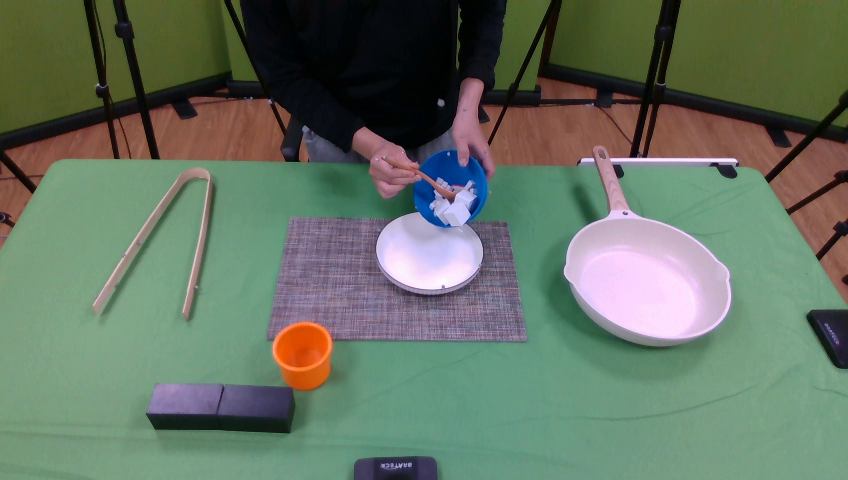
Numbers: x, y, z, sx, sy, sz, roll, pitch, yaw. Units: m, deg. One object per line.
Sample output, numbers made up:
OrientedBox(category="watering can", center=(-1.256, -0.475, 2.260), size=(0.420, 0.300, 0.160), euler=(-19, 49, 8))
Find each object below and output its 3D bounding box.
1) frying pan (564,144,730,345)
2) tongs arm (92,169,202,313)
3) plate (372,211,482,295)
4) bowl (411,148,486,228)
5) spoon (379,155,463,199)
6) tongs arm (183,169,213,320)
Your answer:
OrientedBox(category="frying pan", center=(0.396, -0.008, 1.179), size=(0.307, 0.103, 0.484), euler=(0, 55, -5))
OrientedBox(category="tongs arm", center=(-0.518, -0.012, 1.160), size=(0.051, 0.026, 0.382), euler=(7, 45, 1))
OrientedBox(category="plate", center=(0.006, 0.028, 1.155), size=(0.208, 0.039, 0.206), euler=(2, 46, -2))
OrientedBox(category="bowl", center=(0.059, -0.096, 1.163), size=(0.150, 0.151, 0.077), euler=(34, 13, 25))
OrientedBox(category="spoon", center=(-0.004, -0.115, 1.118), size=(0.041, 0.195, 0.021), euler=(5, 71, 56))
OrientedBox(category="tongs arm", center=(-0.436, -0.005, 1.166), size=(0.028, 0.028, 0.385), euler=(-5, 46, -6))
